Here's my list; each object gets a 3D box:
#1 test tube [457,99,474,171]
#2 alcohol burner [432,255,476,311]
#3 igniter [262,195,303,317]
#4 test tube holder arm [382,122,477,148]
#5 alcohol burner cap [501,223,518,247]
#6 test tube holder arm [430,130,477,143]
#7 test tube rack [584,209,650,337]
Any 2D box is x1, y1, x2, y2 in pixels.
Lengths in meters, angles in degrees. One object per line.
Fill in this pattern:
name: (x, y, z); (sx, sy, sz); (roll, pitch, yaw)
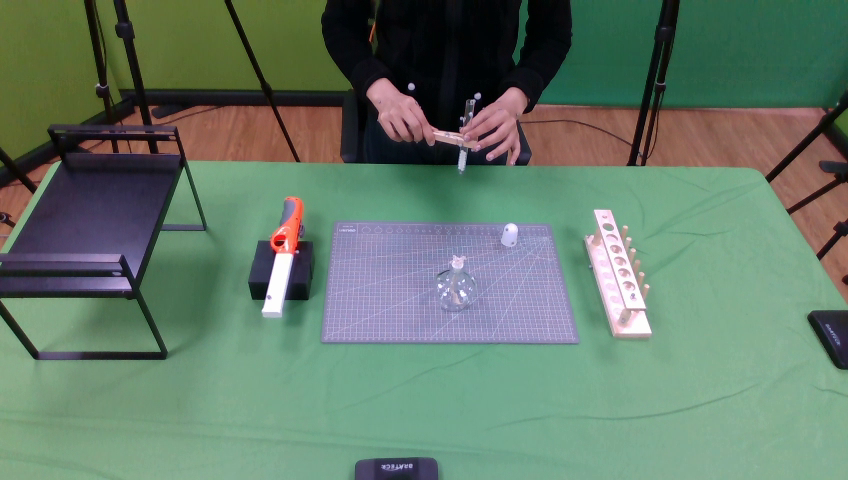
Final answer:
test tube: (0.074, -0.188, 1.103); (0.017, 0.151, 0.017); (3, 43, -3)
alcohol burner: (0.055, 0.070, 1.068); (0.078, 0.119, 0.077); (3, 45, -3)
igniter: (-0.253, 0.020, 1.090); (0.057, 0.025, 0.275); (0, 49, -1)
test tube holder arm: (0.009, -0.194, 1.115); (0.178, 0.015, 0.013); (12, 37, 9)
alcohol burner cap: (0.172, -0.013, 1.206); (0.034, 0.048, 0.033); (1, 46, -1)
test tube holder arm: (0.054, -0.190, 1.114); (0.088, 0.015, 0.010); (6, 37, 2)
test tube rack: (0.365, 0.056, 1.129); (0.067, 0.085, 0.240); (1, 46, -3)
